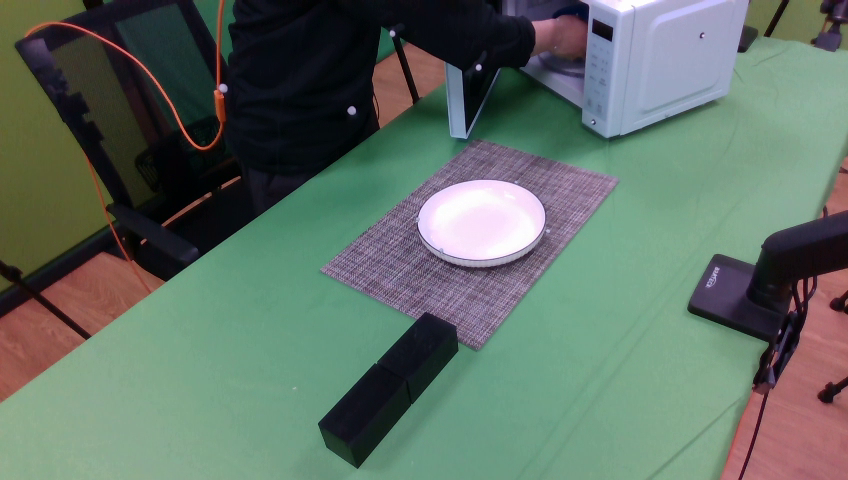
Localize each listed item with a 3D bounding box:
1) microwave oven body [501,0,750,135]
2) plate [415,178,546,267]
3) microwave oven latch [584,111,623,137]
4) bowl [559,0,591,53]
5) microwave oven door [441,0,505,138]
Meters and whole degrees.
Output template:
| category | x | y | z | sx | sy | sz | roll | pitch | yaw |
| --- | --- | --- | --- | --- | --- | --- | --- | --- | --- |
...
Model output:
| category | x | y | z | sx | sy | sz | roll | pitch | yaw |
| --- | --- | --- | --- | --- | --- | --- | --- | --- | --- |
| microwave oven body | 0.382 | -0.444 | 1.246 | 0.327 | 0.261 | 0.437 | -22 | 42 | -16 |
| plate | 0.091 | -0.026 | 0.970 | 0.207 | 0.039 | 0.206 | -4 | 41 | 4 |
| microwave oven latch | 0.337 | -0.222 | 1.142 | 0.030 | 0.029 | 0.078 | -21 | 42 | -14 |
| bowl | 0.363 | -0.452 | 1.298 | 0.151 | 0.077 | 0.150 | -1 | 42 | 1 |
| microwave oven door | 0.108 | -0.405 | 1.231 | 0.039 | 0.245 | 0.355 | 7 | 43 | 17 |
